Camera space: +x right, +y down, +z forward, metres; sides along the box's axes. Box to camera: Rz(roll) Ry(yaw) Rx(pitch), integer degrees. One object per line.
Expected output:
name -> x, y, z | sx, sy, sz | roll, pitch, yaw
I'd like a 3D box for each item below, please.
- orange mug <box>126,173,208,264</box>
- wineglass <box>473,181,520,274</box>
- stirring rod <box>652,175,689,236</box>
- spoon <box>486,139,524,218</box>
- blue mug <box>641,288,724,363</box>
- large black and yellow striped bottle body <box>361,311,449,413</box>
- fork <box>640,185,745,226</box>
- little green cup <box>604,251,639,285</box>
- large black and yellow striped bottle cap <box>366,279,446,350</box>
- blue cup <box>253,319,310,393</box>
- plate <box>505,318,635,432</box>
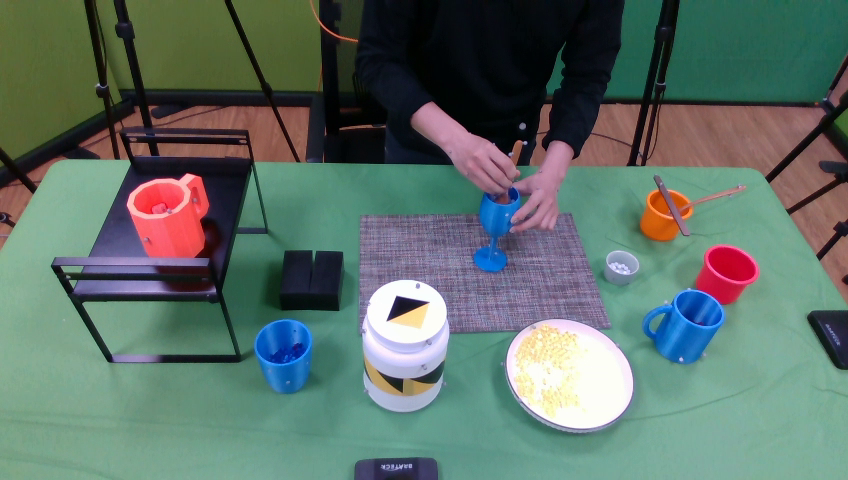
orange mug -> -0.371, -0.040, 0.902 | 0.083, 0.101, 0.126 | 18, 52, 14
wineglass -> 0.132, -0.022, 1.117 | 0.074, 0.173, 0.073 | 2, 46, -2
stirring rod -> 0.491, -0.072, 1.211 | 0.014, 0.006, 0.175 | -1, 47, -5
spoon -> 0.143, -0.102, 1.046 | 0.041, 0.194, 0.021 | 19, 48, 6
blue mug -> 0.432, 0.144, 1.033 | 0.116, 0.106, 0.082 | 9, 46, 4
large black and yellow striped bottle body -> -0.031, 0.163, 0.925 | 0.131, 0.185, 0.130 | 3, 46, -2
fork -> 0.534, -0.069, 1.215 | 0.207, 0.019, 0.028 | -26, 27, 33
little green cup -> 0.375, 0.055, 1.161 | 0.061, 0.039, 0.061 | 3, 46, -2
large black and yellow striped bottle cap -> -0.025, 0.104, 0.864 | 0.115, 0.019, 0.114 | 3, 48, -3
blue cup -> -0.217, 0.187, 0.943 | 0.093, 0.101, 0.092 | 4, 45, -3
plate -> 0.235, 0.221, 0.991 | 0.209, 0.038, 0.208 | 2, 45, -2
